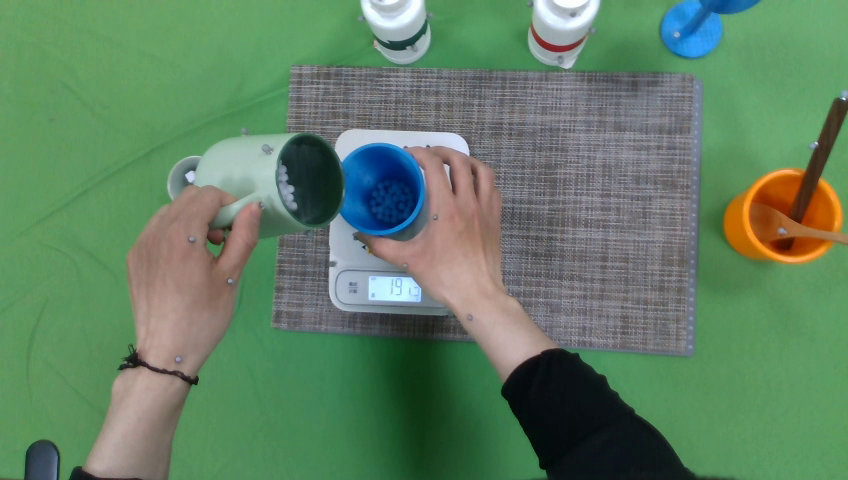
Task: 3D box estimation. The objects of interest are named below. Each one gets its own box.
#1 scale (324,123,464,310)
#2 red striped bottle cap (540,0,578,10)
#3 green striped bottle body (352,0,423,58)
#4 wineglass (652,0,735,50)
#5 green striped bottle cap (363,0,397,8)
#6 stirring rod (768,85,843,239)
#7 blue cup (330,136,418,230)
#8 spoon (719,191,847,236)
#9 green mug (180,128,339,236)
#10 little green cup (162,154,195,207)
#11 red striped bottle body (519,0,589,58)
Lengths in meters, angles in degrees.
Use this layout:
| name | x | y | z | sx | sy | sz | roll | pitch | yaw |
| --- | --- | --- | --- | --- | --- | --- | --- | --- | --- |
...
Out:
| name | x | y | z | sx | sy | sz | roll | pitch | yaw |
| --- | --- | --- | --- | --- | --- | --- | --- | --- | --- |
| scale | -0.033 | -0.026 | 0.658 | 0.148 | 0.031 | 0.200 | 2 | 87 | 5 |
| red striped bottle cap | 0.127 | -0.239 | 0.564 | 0.044 | 0.018 | 0.044 | -1 | 83 | 5 |
| green striped bottle body | -0.038 | -0.240 | 0.631 | 0.063 | 0.119 | 0.063 | 0 | 86 | 5 |
| wineglass | 0.274 | -0.247 | 0.579 | 0.073 | 0.172 | 0.073 | 0 | 86 | 6 |
| green striped bottle cap | -0.043 | -0.246 | 0.576 | 0.044 | 0.020 | 0.044 | 0 | 86 | 5 |
| stirring rod | 0.358 | -0.066 | 0.573 | 0.014 | 0.178 | 0.006 | 11 | 47 | 20 |
| blue cup | -0.044 | -0.050 | 0.596 | 0.092 | 0.100 | 0.092 | 0 | 89 | 4 |
| spoon | 0.374 | -0.013 | 0.569 | 0.022 | 0.192 | 0.041 | 12 | 96 | -37 |
| green mug | -0.146 | -0.043 | 0.510 | 0.104 | 0.125 | 0.093 | -2 | 116 | 34 |
| little green cup | -0.255 | -0.063 | 0.679 | 0.061 | 0.038 | 0.061 | 0 | 88 | 4 |
| red striped bottle body | 0.132 | -0.236 | 0.617 | 0.063 | 0.120 | 0.063 | 0 | 86 | 5 |
